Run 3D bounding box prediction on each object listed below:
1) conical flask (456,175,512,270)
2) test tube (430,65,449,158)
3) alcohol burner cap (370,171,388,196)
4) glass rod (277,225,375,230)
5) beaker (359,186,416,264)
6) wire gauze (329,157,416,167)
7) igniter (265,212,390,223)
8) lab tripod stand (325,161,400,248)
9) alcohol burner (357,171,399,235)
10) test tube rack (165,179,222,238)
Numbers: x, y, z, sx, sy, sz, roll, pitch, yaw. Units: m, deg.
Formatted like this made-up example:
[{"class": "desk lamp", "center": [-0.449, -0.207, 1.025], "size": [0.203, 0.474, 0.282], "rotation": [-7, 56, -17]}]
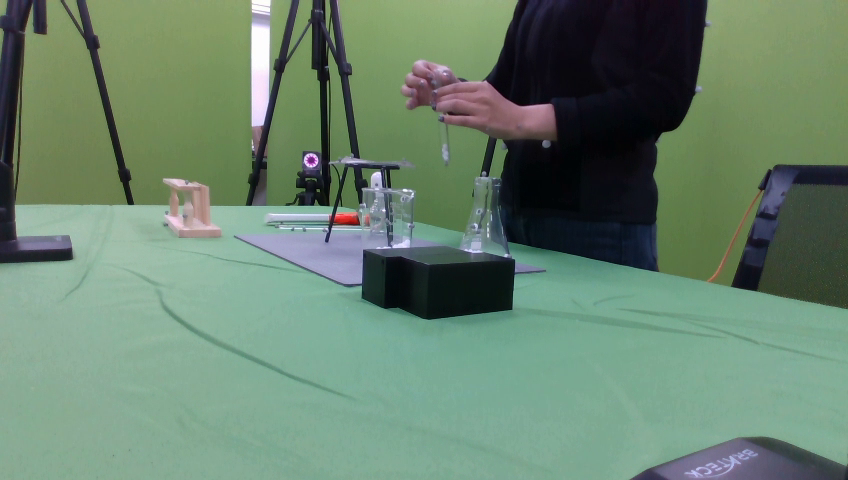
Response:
[{"class": "conical flask", "center": [0.082, -0.025, 0.801], "size": [0.075, 0.122, 0.075], "rotation": [2, 7, 0]}, {"class": "test tube", "center": [0.026, -0.210, 0.992], "size": [0.017, 0.150, 0.017], "rotation": [-6, 7, 1]}, {"class": "alcohol burner cap", "center": [-0.085, -0.104, 1.120], "size": [0.034, 0.048, 0.034], "rotation": [-4, 8, 1]}, {"class": "glass rod", "center": [-0.187, -0.024, 1.178], "size": [0.201, 0.008, 0.008], "rotation": [1, 6, -31]}, {"class": "beaker", "center": [-0.048, -0.020, 0.817], "size": [0.083, 0.100, 0.074], "rotation": [9, 10, 41]}, {"class": "wire gauze", "center": [-0.079, -0.126, 0.972], "size": [0.121, 0.011, 0.125], "rotation": [4, 8, 5]}, {"class": "igniter", "center": [-0.196, -0.048, 1.286], "size": [0.278, 0.025, 0.057], "rotation": [-2, -2, -30]}, {"class": "lab tripod stand", "center": [-0.083, -0.060, 0.977], "size": [0.148, 0.131, 0.148], "rotation": [4, 8, 0]}, {"class": "alcohol burner", "center": [-0.085, -0.069, 1.125], "size": [0.078, 0.119, 0.078], "rotation": [3, 10, 0]}, {"class": "test tube rack", "center": [-0.423, -0.062, 1.098], "size": [0.067, 0.085, 0.241], "rotation": [-2, 9, -28]}]
